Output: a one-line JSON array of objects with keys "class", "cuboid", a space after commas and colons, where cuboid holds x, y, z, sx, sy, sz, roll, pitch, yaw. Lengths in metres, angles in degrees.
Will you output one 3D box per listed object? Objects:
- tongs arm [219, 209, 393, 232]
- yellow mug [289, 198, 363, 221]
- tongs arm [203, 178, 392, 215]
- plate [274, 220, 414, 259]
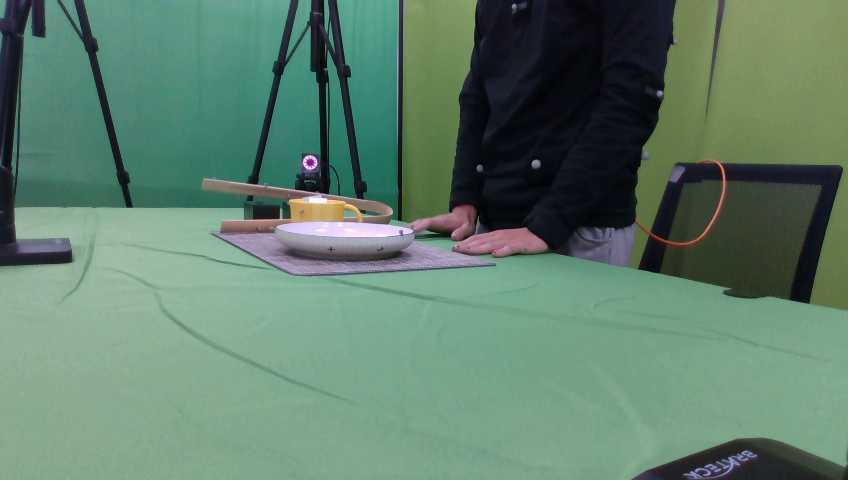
[{"class": "tongs arm", "cuboid": [-0.210, -0.037, 1.182, 0.390, 0.028, 0.028, -5, 32, -41]}, {"class": "yellow mug", "cuboid": [-0.174, -0.039, 1.071, 0.131, 0.064, 0.100, 3, 6, 0]}, {"class": "tongs arm", "cuboid": [-0.247, -0.083, 1.238, 0.387, 0.026, 0.050, 5, 30, -30]}, {"class": "plate", "cuboid": [-0.118, -0.001, 0.903, 0.208, 0.039, 0.207, 3, 7, 0]}]
